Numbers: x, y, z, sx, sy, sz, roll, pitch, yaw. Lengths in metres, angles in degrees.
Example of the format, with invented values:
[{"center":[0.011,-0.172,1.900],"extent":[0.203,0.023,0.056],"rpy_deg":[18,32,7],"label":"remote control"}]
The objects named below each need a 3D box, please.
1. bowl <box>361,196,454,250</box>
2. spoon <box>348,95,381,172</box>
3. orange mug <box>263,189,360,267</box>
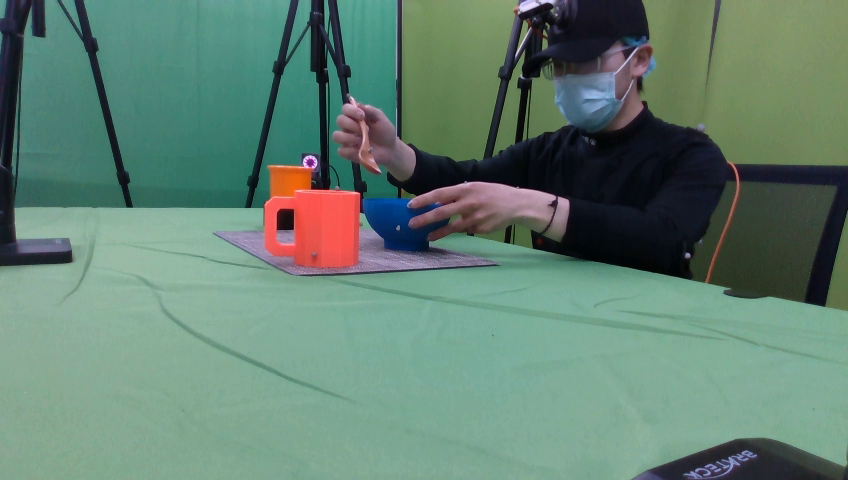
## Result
[{"center":[-0.028,-0.028,0.984],"extent":[0.151,0.077,0.151],"rpy_deg":[3,7,0],"label":"bowl"},{"center":[-0.098,-0.171,0.954],"extent":[0.042,0.021,0.193],"rpy_deg":[20,40,-36],"label":"spoon"},{"center":[-0.147,-0.019,0.794],"extent":[0.127,0.100,0.083],"rpy_deg":[5,6,-19],"label":"orange mug"}]
